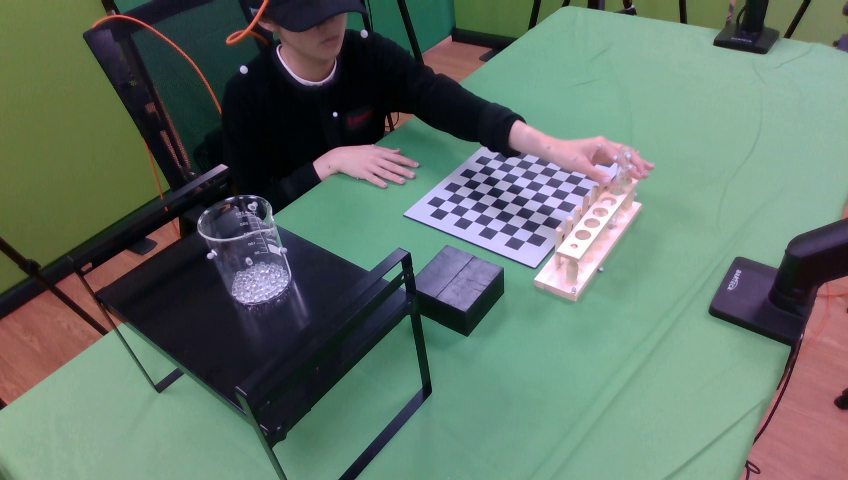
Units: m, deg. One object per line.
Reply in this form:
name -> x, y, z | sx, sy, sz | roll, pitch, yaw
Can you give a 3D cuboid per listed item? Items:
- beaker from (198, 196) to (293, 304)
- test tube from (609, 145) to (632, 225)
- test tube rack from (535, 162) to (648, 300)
beaker -> -0.185, 0.014, 0.651 | 0.083, 0.101, 0.074 | 9, 44, 18
test tube -> 0.290, -0.077, 0.897 | 0.017, 0.151, 0.017 | -4, 46, 5
test tube rack -> 0.257, -0.024, 0.916 | 0.066, 0.085, 0.243 | 22, 49, 30
